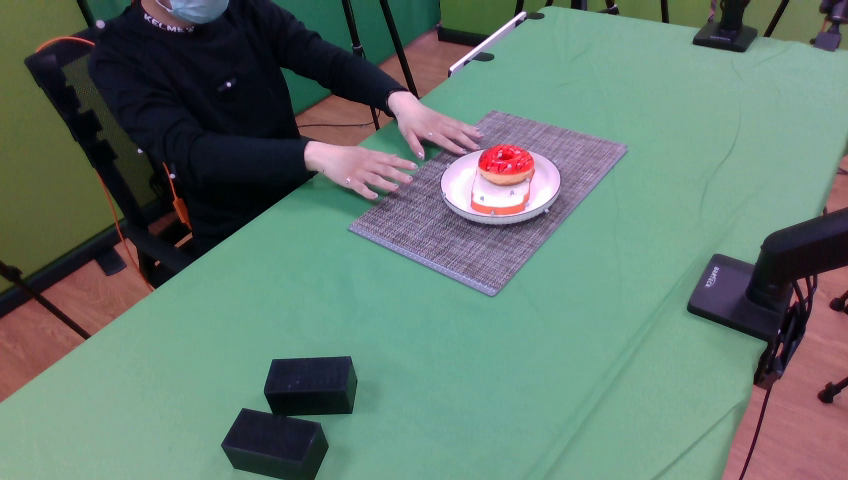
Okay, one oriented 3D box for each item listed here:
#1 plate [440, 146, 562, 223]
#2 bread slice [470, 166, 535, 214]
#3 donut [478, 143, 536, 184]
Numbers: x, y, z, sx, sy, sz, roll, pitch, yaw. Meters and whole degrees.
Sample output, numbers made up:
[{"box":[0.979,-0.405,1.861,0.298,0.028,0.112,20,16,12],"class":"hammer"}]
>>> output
[{"box":[0.131,-0.093,1.040,0.207,0.039,0.206,-4,41,4],"class":"plate"},{"box":[0.134,-0.089,1.038,0.104,0.019,0.131,4,40,12],"class":"bread slice"},{"box":[0.142,-0.132,1.040,0.099,0.048,0.098,-3,37,3],"class":"donut"}]
